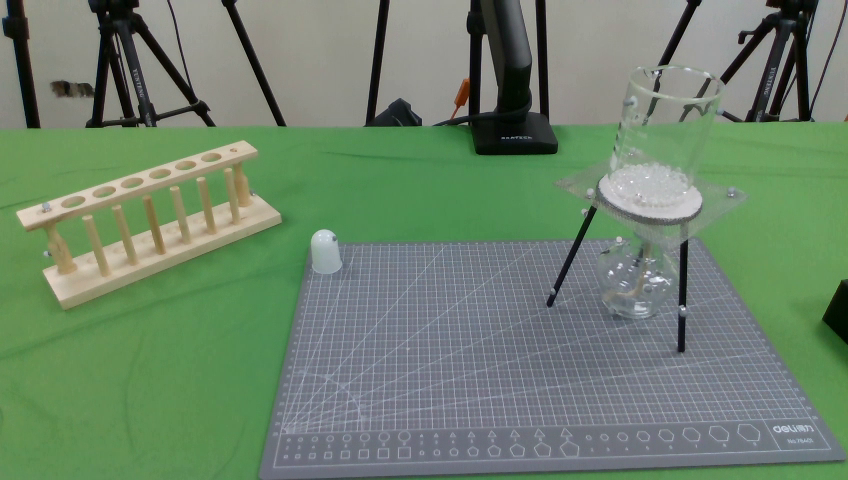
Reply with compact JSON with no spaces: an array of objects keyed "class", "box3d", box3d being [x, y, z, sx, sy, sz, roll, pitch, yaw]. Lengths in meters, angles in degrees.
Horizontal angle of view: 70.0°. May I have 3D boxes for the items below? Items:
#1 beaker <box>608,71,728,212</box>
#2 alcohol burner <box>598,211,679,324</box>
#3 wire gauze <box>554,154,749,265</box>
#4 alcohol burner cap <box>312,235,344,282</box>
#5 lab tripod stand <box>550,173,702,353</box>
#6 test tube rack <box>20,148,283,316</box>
[{"class":"beaker","box3d":[0.197,-0.082,0.508,0.074,0.101,0.083,-5,36,-8]},{"class":"alcohol burner","box3d":[0.208,0.021,0.577,0.078,0.120,0.077,1,37,0]},{"class":"wire gauze","box3d":[0.196,-0.036,0.527,0.121,0.011,0.124,-25,46,-29]},{"class":"alcohol burner cap","box3d":[-0.104,0.017,0.645,0.034,0.048,0.033,1,36,0]},{"class":"lab tripod stand","box3d":[0.201,0.017,0.566,0.148,0.132,0.147,2,35,-1]},{"class":"test tube rack","box3d":[-0.282,-0.017,0.660,0.243,0.086,0.066,-26,42,-32]}]
